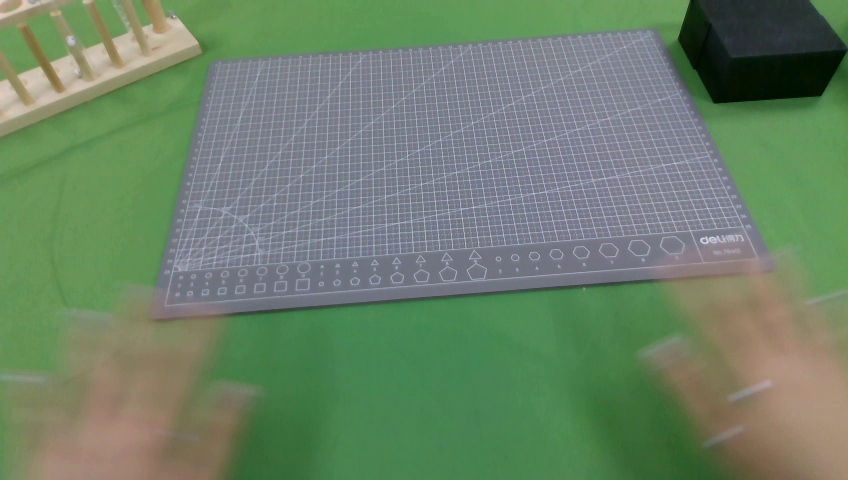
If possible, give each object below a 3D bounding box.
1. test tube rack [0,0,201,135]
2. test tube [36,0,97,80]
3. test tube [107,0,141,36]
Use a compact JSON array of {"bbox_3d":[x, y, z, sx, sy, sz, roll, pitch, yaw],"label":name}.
[{"bbox_3d":[-0.347,-0.180,0.565,0.242,0.086,0.066,-31,57,-19],"label":"test tube rack"},{"bbox_3d":[-0.325,-0.204,0.526,0.017,0.152,0.017,-1,52,1],"label":"test tube"},{"bbox_3d":[-0.303,-0.254,0.557,0.017,0.152,0.017,-4,54,6],"label":"test tube"}]
